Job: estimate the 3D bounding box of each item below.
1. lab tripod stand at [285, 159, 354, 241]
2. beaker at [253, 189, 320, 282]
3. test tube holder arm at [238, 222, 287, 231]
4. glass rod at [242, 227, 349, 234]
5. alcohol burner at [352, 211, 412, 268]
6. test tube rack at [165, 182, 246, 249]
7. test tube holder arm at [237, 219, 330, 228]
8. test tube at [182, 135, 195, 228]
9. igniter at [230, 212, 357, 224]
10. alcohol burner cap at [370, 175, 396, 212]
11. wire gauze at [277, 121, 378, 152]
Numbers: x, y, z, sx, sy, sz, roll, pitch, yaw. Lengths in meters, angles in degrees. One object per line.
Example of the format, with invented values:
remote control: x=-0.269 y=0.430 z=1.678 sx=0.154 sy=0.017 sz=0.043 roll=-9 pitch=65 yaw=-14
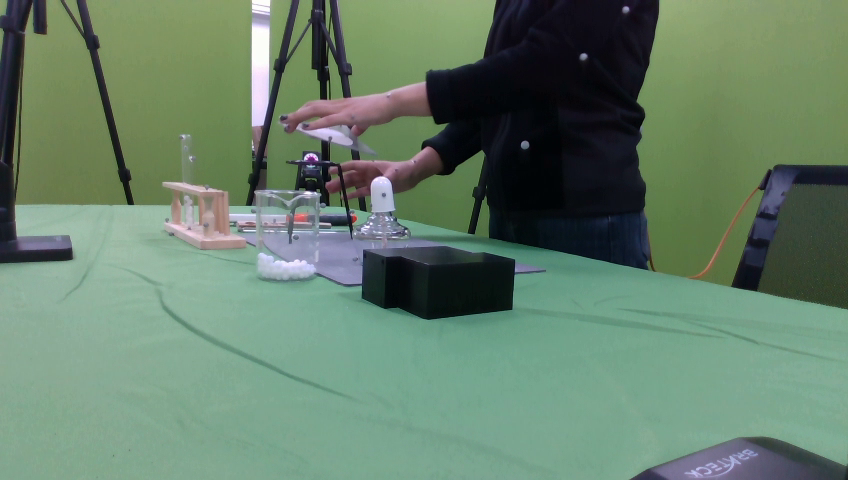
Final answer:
lab tripod stand: x=-0.187 y=-0.068 z=1.013 sx=0.148 sy=0.131 sz=0.148 roll=4 pitch=9 yaw=0
beaker: x=-0.156 y=-0.005 z=0.689 sx=0.074 sy=0.100 sz=0.083 roll=0 pitch=8 yaw=-14
test tube holder arm: x=-0.297 y=-0.024 z=1.114 sx=0.088 sy=0.015 sz=0.010 roll=-3 pitch=48 yaw=-33
glass rod: x=-0.232 y=-0.016 z=1.110 sx=0.201 sy=0.008 sz=0.008 roll=2 pitch=6 yaw=-30
alcohol burner: x=-0.055 y=-0.024 z=0.784 sx=0.078 sy=0.119 sz=0.078 roll=2 pitch=9 yaw=0
test tube rack: x=-0.360 y=-0.045 z=0.982 sx=0.067 sy=0.085 sz=0.241 roll=-3 pitch=9 yaw=-34
test tube holder arm: x=-0.262 y=-0.031 z=1.143 sx=0.179 sy=0.015 sz=0.013 roll=-5 pitch=49 yaw=-35
test tube: x=-0.382 y=-0.095 z=0.983 sx=0.017 sy=0.150 sz=0.017 roll=-1 pitch=2 yaw=0
igniter: x=-0.271 y=-0.044 z=1.232 sx=0.278 sy=0.025 sz=0.057 roll=-2 pitch=-2 yaw=-27
alcohol burner cap: x=-0.055 y=-0.059 z=0.778 sx=0.034 sy=0.048 sz=0.034 roll=-7 pitch=10 yaw=2
wire gauze: x=-0.153 y=-0.169 z=0.964 sx=0.126 sy=0.011 sz=0.121 roll=-1 pitch=27 yaw=-37
